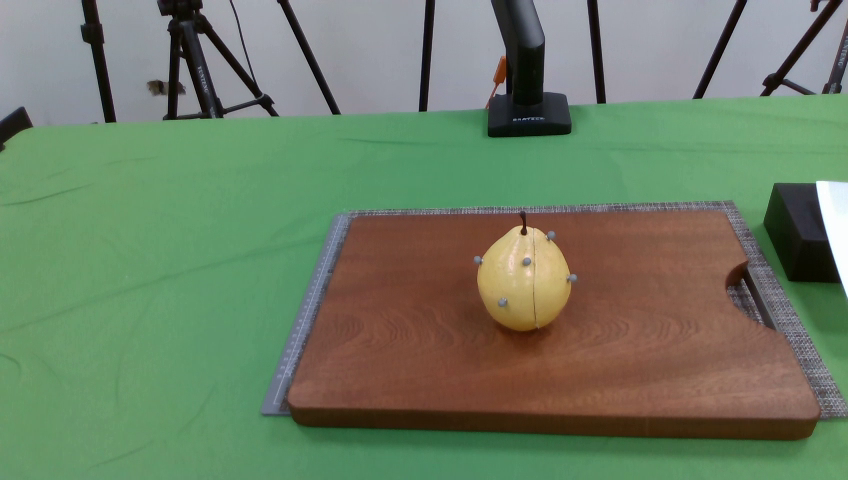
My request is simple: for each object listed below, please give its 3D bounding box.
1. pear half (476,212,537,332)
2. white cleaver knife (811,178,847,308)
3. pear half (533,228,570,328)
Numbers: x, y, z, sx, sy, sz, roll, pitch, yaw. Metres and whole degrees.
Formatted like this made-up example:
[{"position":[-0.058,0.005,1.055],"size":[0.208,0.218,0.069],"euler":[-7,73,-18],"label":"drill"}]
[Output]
[{"position":[0.070,0.022,0.508],"size":[0.056,0.111,0.076],"euler":[-1,33,8],"label":"pear half"},{"position":[0.386,0.048,0.507],"size":[0.065,0.022,0.284],"euler":[0,47,14],"label":"white cleaver knife"},{"position":[0.106,0.031,0.507],"size":[0.031,0.088,0.070],"euler":[-1,29,8],"label":"pear half"}]
